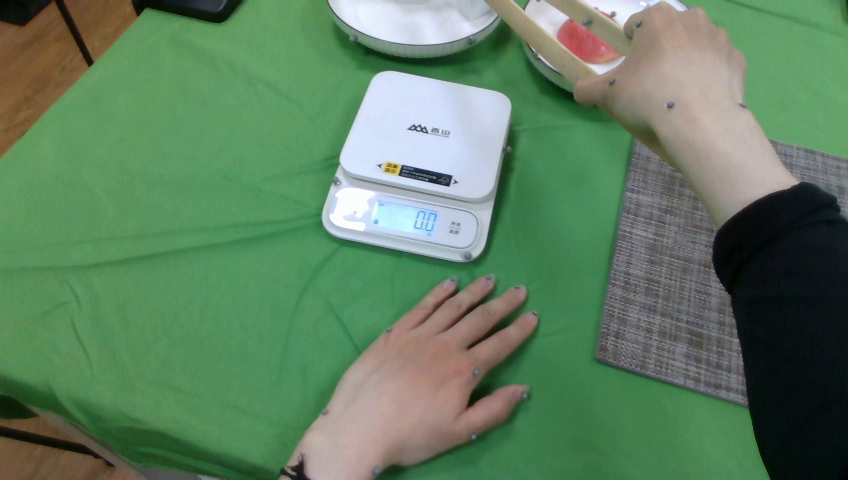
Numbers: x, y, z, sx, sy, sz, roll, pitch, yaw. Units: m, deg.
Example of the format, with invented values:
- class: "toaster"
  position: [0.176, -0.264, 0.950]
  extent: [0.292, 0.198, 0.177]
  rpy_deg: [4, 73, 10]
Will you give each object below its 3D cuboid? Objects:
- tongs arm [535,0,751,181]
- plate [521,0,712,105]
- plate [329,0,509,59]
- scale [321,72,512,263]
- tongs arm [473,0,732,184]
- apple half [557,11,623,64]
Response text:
- class: "tongs arm"
  position: [0.145, -0.177, 0.541]
  extent: [0.051, 0.027, 0.380]
  rpy_deg: [-25, 49, -13]
- class: "plate"
  position: [0.210, -0.220, 0.678]
  extent: [0.209, 0.038, 0.207]
  rpy_deg: [1, 55, -2]
- class: "plate"
  position: [-0.006, -0.277, 0.708]
  extent: [0.208, 0.039, 0.205]
  rpy_deg: [1, 55, -1]
- class: "scale"
  position: [-0.001, -0.076, 0.574]
  extent: [0.148, 0.032, 0.199]
  rpy_deg: [12, 56, 6]
- class: "tongs arm"
  position: [0.118, -0.166, 0.536]
  extent: [0.028, 0.028, 0.383]
  rpy_deg: [-21, 48, -14]
- class: "apple half"
  position: [0.193, -0.234, 0.681]
  extent: [0.081, 0.033, 0.080]
  rpy_deg: [0, 52, 0]
